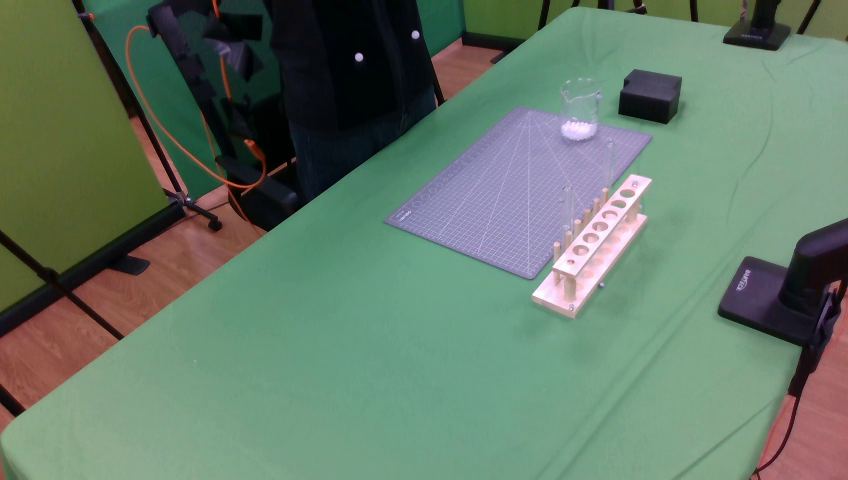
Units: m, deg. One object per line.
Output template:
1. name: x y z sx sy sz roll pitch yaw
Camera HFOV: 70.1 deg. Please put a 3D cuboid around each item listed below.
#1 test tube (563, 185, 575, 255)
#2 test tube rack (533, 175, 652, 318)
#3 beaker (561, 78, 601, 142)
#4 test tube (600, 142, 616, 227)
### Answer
1. test tube: 0.202 -0.015 0.845 0.017 0.151 0.017 -6 42 6
2. test tube rack: 0.250 -0.001 0.889 0.066 0.085 0.243 23 49 32
3. beaker: 0.295 -0.243 1.150 0.073 0.101 0.084 22 50 32
4. test tube: 0.275 -0.081 0.909 0.017 0.151 0.017 -5 40 5
